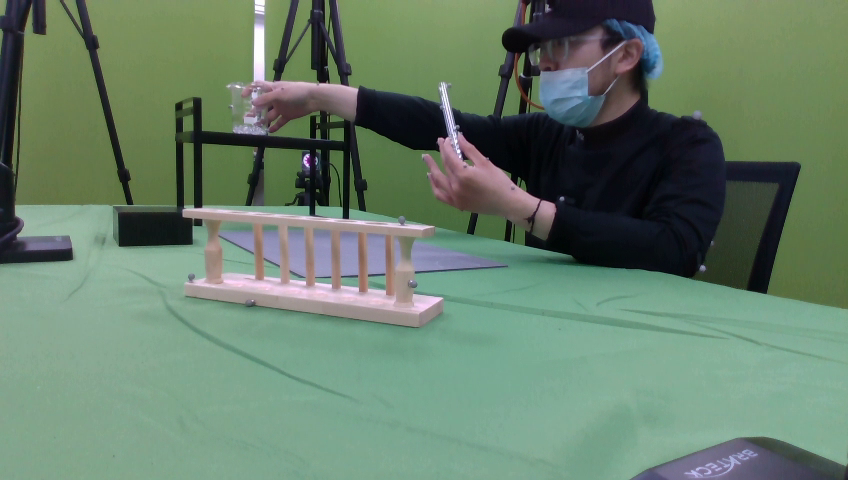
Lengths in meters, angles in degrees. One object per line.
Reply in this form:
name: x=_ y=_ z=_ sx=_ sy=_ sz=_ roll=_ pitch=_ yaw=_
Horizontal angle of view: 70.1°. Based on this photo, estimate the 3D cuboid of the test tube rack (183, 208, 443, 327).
test tube rack: x=-0.106 y=0.019 z=0.570 sx=0.241 sy=0.085 sz=0.067 roll=5 pitch=8 yaw=19

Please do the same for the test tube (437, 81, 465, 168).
test tube: x=0.043 y=-0.183 z=0.951 sx=0.017 sy=0.150 sz=0.017 roll=-11 pitch=-15 yaw=-3

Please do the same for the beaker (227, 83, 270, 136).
beaker: x=-0.354 y=-0.262 z=1.224 sx=0.084 sy=0.100 sz=0.073 roll=-3 pitch=8 yaw=-27
